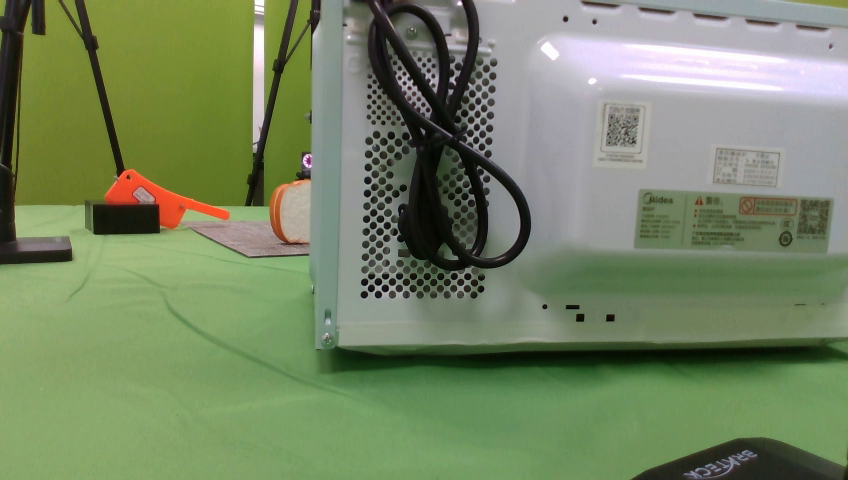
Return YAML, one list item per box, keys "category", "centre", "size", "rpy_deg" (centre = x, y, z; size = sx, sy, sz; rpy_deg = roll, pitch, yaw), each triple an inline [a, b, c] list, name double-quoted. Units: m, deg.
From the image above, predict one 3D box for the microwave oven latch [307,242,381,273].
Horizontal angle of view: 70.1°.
- category: "microwave oven latch"
  centre: [-0.086, 0.019, 0.656]
  size: [0.079, 0.029, 0.030]
  rpy_deg: [2, 7, -11]

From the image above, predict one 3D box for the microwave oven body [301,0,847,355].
- category: "microwave oven body"
  centre: [0.120, -0.053, 0.535]
  size: [0.443, 0.260, 0.325]
  rpy_deg: [2, 7, -11]

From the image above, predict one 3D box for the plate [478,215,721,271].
- category: "plate"
  centre: [0.152, 0.000, 0.545]
  size: [0.208, 0.039, 0.207]
  rpy_deg: [0, 5, 0]

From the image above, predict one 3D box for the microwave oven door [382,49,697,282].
- category: "microwave oven door"
  centre: [0.135, -0.077, 0.685]
  size: [0.357, 0.243, 0.039]
  rpy_deg: [1, 8, -12]

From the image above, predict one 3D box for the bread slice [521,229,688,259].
- category: "bread slice"
  centre: [0.173, 0.003, 0.564]
  size: [0.134, 0.018, 0.107]
  rpy_deg: [-3, 4, 30]

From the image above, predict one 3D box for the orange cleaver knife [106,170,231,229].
- category: "orange cleaver knife"
  centre: [-0.458, -0.060, 1.097]
  size: [0.212, 0.077, 0.012]
  rpy_deg: [23, -4, -38]
